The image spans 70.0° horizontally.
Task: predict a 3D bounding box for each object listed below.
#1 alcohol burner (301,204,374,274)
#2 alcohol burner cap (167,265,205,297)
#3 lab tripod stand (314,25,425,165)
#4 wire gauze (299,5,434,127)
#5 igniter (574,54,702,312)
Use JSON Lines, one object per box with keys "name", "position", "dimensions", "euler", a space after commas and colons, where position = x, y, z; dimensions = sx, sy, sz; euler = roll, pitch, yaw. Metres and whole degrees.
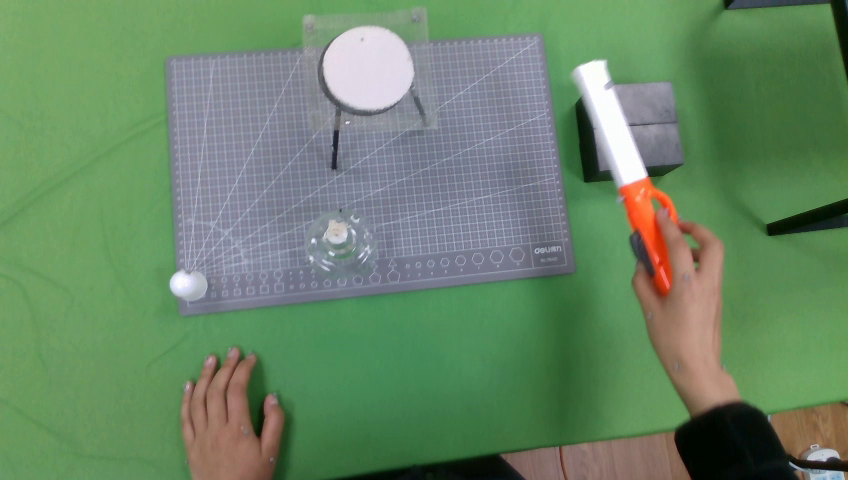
{"name": "alcohol burner", "position": [-0.092, -0.003, 0.635], "dimensions": [0.078, 0.119, 0.077], "euler": [1, 82, -4]}
{"name": "alcohol burner cap", "position": [-0.257, 0.042, 0.648], "dimensions": [0.034, 0.048, 0.033], "euler": [1, 79, -6]}
{"name": "lab tripod stand", "position": [-0.069, -0.160, 0.649], "dimensions": [0.148, 0.132, 0.148], "euler": [1, 81, -3]}
{"name": "wire gauze", "position": [-0.056, -0.167, 0.583], "dimensions": [0.125, 0.011, 0.121], "euler": [-3, 82, -5]}
{"name": "igniter", "position": [0.214, -0.055, 0.609], "dimensions": [0.057, 0.025, 0.276], "euler": [-19, 87, -15]}
